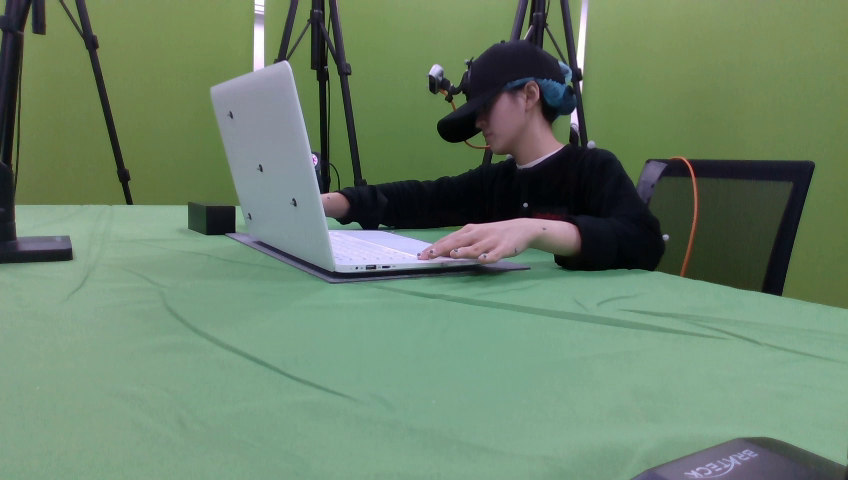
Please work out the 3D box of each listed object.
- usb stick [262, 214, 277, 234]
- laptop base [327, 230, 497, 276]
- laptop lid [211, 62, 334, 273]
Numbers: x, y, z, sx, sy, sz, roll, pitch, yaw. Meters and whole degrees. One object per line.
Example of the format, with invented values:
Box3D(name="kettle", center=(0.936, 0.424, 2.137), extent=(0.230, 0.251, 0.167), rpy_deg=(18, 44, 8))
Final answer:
Box3D(name="usb stick", center=(-0.259, -0.025, 1.011), extent=(0.021, 0.027, 0.059), rpy_deg=(7, 14, -18))
Box3D(name="laptop base", center=(-0.091, 0.016, 0.884), extent=(0.237, 0.023, 0.352), rpy_deg=(2, 6, -32))
Box3D(name="laptop lid", center=(-0.211, -0.095, 0.791), extent=(0.013, 0.241, 0.355), rpy_deg=(-18, 18, -29))
